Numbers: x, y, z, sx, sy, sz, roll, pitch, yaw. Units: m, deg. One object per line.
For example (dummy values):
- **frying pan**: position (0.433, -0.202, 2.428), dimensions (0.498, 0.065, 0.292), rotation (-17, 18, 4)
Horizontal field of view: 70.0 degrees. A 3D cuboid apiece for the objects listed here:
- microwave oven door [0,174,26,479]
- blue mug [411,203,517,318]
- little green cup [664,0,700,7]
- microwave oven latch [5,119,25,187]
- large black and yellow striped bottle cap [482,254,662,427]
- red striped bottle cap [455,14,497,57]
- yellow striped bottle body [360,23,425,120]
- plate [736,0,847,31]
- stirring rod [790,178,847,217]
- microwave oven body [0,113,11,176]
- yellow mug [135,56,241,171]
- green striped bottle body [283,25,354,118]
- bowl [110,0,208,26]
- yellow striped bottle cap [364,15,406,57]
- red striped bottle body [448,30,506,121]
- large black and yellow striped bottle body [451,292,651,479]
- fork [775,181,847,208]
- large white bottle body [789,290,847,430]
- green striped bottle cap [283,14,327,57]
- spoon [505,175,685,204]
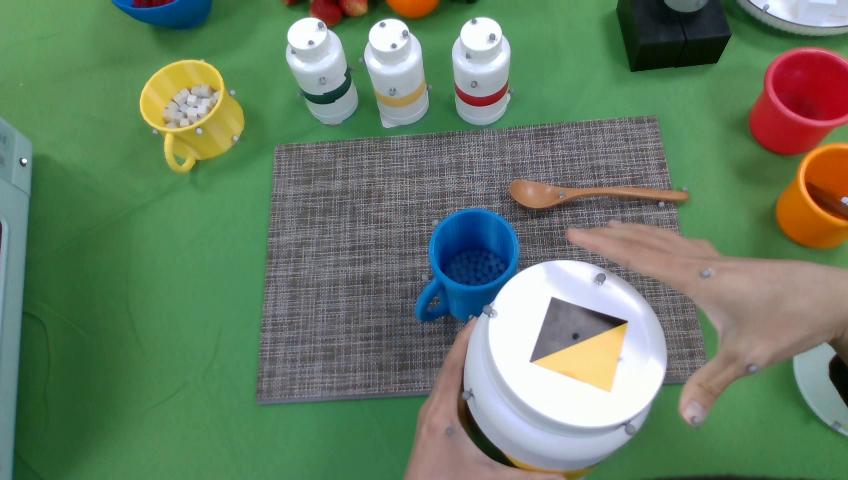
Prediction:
- **microwave oven door**: position (-0.457, 0.060, 0.535), dimensions (0.039, 0.245, 0.353), rotation (-13, 67, 1)
- **blue mug**: position (0.034, 0.033, 0.590), dimensions (0.116, 0.106, 0.082), rotation (-39, 69, -10)
- **little green cup**: position (0.295, -0.296, 0.684), dimensions (0.061, 0.039, 0.061), rotation (-1, 67, 3)
- **microwave oven latch**: position (-0.490, -0.100, 0.711), dimensions (0.030, 0.030, 0.078), rotation (-11, 68, 1)
- **large black and yellow striped bottle cap**: position (0.095, 0.062, 0.391), dimensions (0.115, 0.019, 0.114), rotation (2, 60, -3)
- **red striped bottle cap**: position (0.054, -0.212, 0.625), dimensions (0.044, 0.018, 0.044), rotation (0, 66, 1)
- **yellow striped bottle body**: position (-0.035, -0.195, 0.683), dimensions (0.063, 0.121, 0.062), rotation (-2, 67, 5)
- **plate**: position (0.462, -0.336, 0.739), dimensions (0.209, 0.038, 0.207), rotation (-2, 69, 4)
- **stirring rod**: position (0.396, -0.029, 0.570), dimensions (0.014, 0.006, 0.175), rotation (-1, 25, 2)
- **microwave oven body**: position (-0.608, 0.055, 0.556), dimensions (0.326, 0.262, 0.438), rotation (-13, 68, 0)
- **yellow mug**: position (-0.281, -0.144, 0.715), dimensions (0.100, 0.064, 0.130), rotation (5, 69, 7)
- **green striped bottle body**: position (-0.121, -0.198, 0.693), dimensions (0.063, 0.120, 0.062), rotation (-2, 68, 4)
- **bowl**: position (-0.335, -0.337, 0.790), dimensions (0.151, 0.077, 0.150), rotation (-2, 68, 4)
- **yellow striped bottle cap**: position (-0.041, -0.214, 0.635), dimensions (0.044, 0.019, 0.044), rotation (0, 65, 1)
- **red striped bottle body**: position (0.059, -0.192, 0.674), dimensions (0.063, 0.120, 0.062), rotation (-2, 67, 5)
- **large black and yellow striped bottle body**: position (0.091, 0.107, 0.463), dimensions (0.131, 0.185, 0.129), rotation (1, 58, -2)
- **fork**: position (0.425, -0.029, 0.559), dimensions (0.028, 0.019, 0.205), rotation (-30, 24, -15)
- **large white bottle body**: position (0.405, 0.087, 0.495), dimensions (0.130, 0.186, 0.129), rotation (-2, 68, 5)
- **green striped bottle cap**: position (-0.127, -0.218, 0.645), dimensions (0.044, 0.020, 0.044), rotation (-2, 66, 5)
- **spoon**: position (0.185, -0.055, 0.657), dimensions (0.193, 0.022, 0.041), rotation (0, 47, 5)
